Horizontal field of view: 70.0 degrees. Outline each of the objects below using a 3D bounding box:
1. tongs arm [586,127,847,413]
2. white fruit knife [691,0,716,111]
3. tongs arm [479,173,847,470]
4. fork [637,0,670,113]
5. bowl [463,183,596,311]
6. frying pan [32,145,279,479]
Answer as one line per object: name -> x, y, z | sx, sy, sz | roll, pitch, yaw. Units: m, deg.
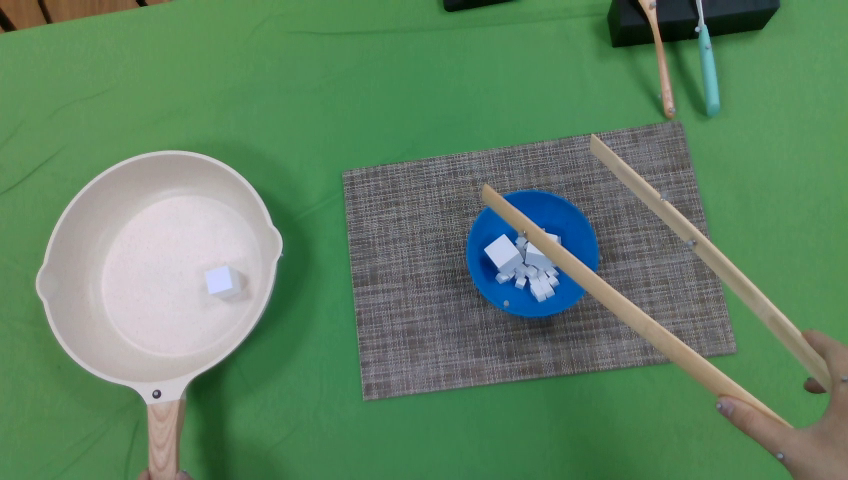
tongs arm -> 0.244, 0.019, 0.544 | 0.051, 0.027, 0.380 | -21, 51, -17
white fruit knife -> 0.350, -0.270, 0.771 | 0.016, 0.027, 0.207 | -9, 93, 8
tongs arm -> 0.177, 0.049, 0.520 | 0.028, 0.028, 0.383 | -28, 53, -27
fork -> 0.291, -0.265, 0.775 | 0.028, 0.018, 0.207 | -14, 97, -1
bowl -> 0.122, 0.015, 0.723 | 0.151, 0.077, 0.150 | -1, 77, 4
frying pan -> -0.310, 0.123, 0.721 | 0.307, 0.103, 0.484 | -9, 68, 3
